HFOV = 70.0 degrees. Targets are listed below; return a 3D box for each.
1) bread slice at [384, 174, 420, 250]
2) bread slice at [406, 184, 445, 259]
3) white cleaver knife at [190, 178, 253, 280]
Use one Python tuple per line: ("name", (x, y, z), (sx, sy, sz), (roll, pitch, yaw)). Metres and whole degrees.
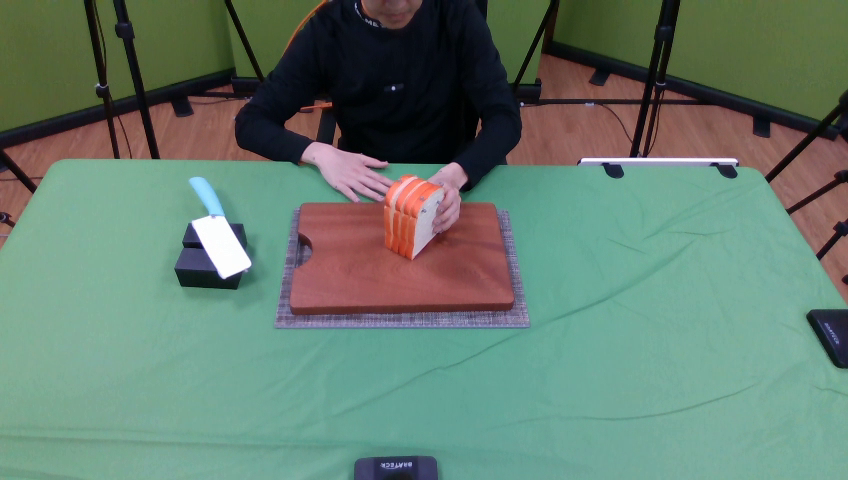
("bread slice", (-0.040, -0.061, 1.136), (0.019, 0.132, 0.104), (22, 47, 25))
("bread slice", (0.003, -0.039, 1.116), (0.018, 0.135, 0.107), (28, 54, 20))
("white cleaver knife", (-0.396, -0.030, 1.137), (0.066, 0.021, 0.284), (-21, 49, -23))
